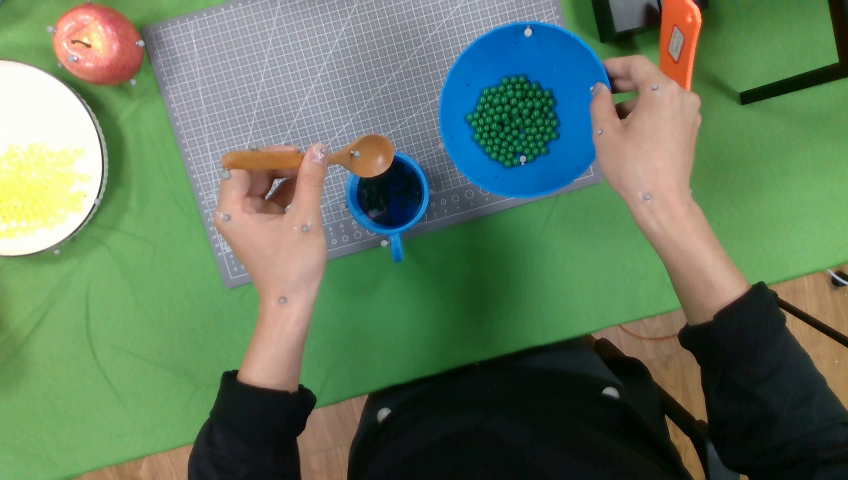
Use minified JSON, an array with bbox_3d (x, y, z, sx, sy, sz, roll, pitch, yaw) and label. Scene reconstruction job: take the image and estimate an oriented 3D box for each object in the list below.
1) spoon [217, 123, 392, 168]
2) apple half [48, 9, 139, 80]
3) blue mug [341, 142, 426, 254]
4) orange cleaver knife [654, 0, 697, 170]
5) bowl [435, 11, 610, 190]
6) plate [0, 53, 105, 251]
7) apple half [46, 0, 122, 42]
[{"bbox_3d":[-0.084,-0.072,0.478,0.021,0.194,0.042,25,110,22],"label":"spoon"},{"bbox_3d":[-0.332,-0.195,0.628,0.081,0.074,0.053,-31,100,-2],"label":"apple half"},{"bbox_3d":[-0.038,-0.042,0.640,0.082,0.105,0.116,-8,96,-1],"label":"blue mug"},{"bbox_3d":[0.266,-0.175,0.651,0.012,0.076,0.213,-17,127,-1],"label":"orange cleaver knife"},{"bbox_3d":[0.091,-0.123,0.557,0.151,0.077,0.151,2,98,13],"label":"bowl"},{"bbox_3d":[-0.446,-0.093,0.651,0.209,0.038,0.209,0,97,-2],"label":"plate"},{"bbox_3d":[-0.352,-0.228,0.622,0.081,0.081,0.033,-31,101,1],"label":"apple half"}]
